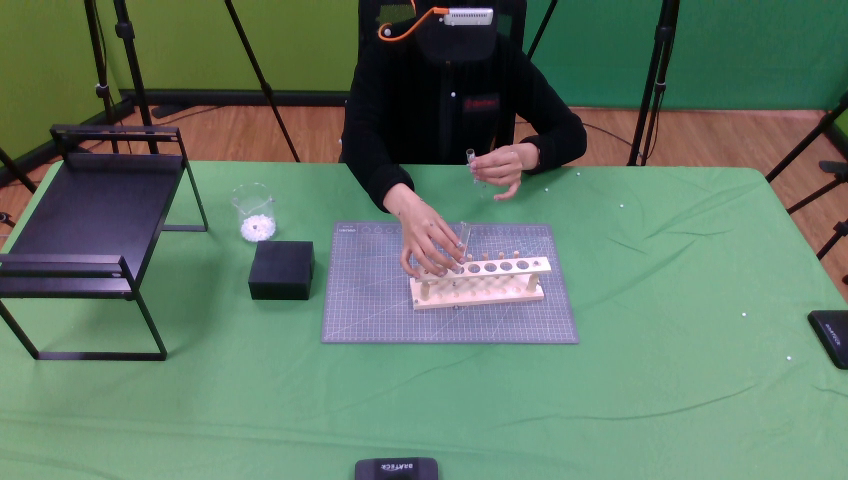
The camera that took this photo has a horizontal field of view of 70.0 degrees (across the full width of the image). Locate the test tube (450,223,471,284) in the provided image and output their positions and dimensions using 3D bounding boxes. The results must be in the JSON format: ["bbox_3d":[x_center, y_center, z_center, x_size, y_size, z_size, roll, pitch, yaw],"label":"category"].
[{"bbox_3d":[0.060,0.027,1.024,0.017,0.151,0.017,4,48,-4],"label":"test tube"}]

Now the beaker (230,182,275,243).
[{"bbox_3d":[-0.328,-0.049,1.166,0.074,0.101,0.083,2,47,-2],"label":"beaker"}]

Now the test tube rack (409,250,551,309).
[{"bbox_3d":[0.098,0.065,1.096,0.243,0.085,0.066,-4,47,-8],"label":"test tube rack"}]

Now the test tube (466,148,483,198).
[{"bbox_3d":[0.102,-0.130,1.203,0.017,0.151,0.017,-6,57,10],"label":"test tube"}]
